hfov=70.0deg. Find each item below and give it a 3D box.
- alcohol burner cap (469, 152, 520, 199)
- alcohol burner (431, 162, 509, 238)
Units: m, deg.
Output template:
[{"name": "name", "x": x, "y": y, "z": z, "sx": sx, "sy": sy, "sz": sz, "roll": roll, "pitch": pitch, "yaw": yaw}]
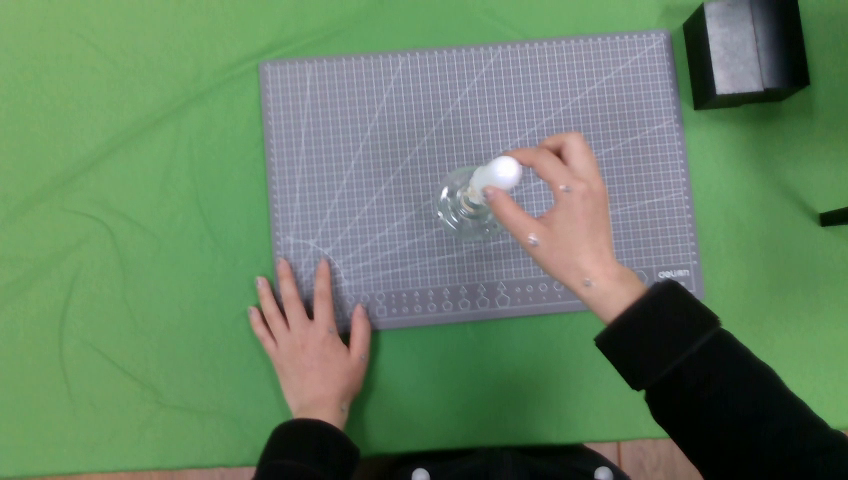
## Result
[{"name": "alcohol burner cap", "x": 0.061, "y": -0.056, "z": 0.503, "sx": 0.034, "sy": 0.048, "sz": 0.033, "roll": 4, "pitch": 78, "yaw": -17}, {"name": "alcohol burner", "x": 0.046, "y": -0.041, "z": 0.588, "sx": 0.078, "sy": 0.119, "sz": 0.078, "roll": 0, "pitch": 86, "yaw": 0}]
